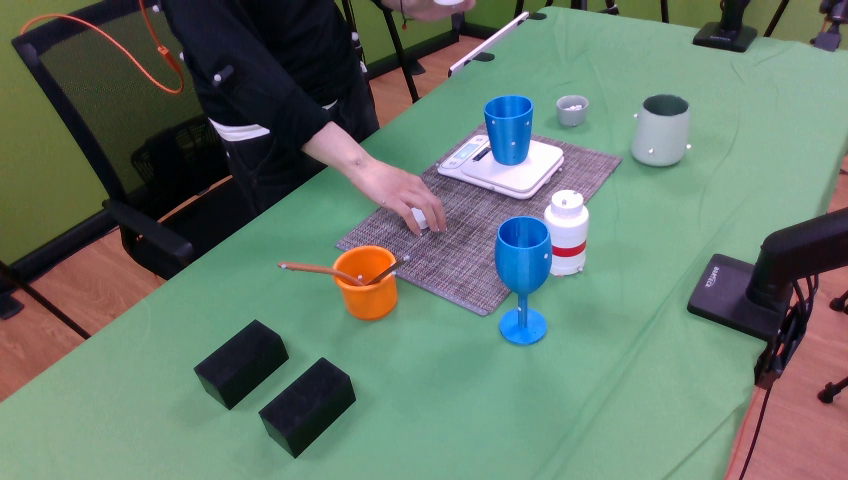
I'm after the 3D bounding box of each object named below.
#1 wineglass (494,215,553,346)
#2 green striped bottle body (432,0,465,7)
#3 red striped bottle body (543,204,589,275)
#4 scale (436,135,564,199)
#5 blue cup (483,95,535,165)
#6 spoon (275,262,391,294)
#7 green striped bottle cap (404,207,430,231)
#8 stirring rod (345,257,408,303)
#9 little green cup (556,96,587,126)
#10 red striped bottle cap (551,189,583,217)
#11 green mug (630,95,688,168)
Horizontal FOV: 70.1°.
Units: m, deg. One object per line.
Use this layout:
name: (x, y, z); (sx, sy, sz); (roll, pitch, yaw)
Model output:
wineglass: (0.127, 0.055, 0.770); (0.074, 0.173, 0.073); (-4, 40, 4)
green striped bottle body: (0.034, -0.434, 0.944); (0.063, 0.120, 0.063); (-5, 48, 6)
red striped bottle body: (0.206, -0.011, 0.878); (0.063, 0.120, 0.062); (-5, 41, 4)
scale: (0.137, -0.142, 1.101); (0.199, 0.032, 0.149); (22, 48, 30)
blue cup: (0.148, -0.188, 1.052); (0.092, 0.100, 0.092); (-6, 39, 5)
spoon: (-0.120, 0.050, 0.830); (0.041, 0.195, 0.021); (31, 96, 45)
green striped bottle cap: (-0.011, -0.036, 1.011); (0.044, 0.020, 0.044); (2, 40, -2)
stirring rod: (-0.067, 0.057, 0.815); (0.014, 0.175, 0.006); (-24, 82, -38)
little green cup: (0.295, -0.258, 1.214); (0.061, 0.039, 0.061); (-4, 42, 4)
red striped bottle cap: (0.199, -0.052, 0.843); (0.044, 0.018, 0.044); (-2, 42, 2)
green mug: (0.421, -0.201, 1.081); (0.092, 0.105, 0.125); (5, 42, 15)
